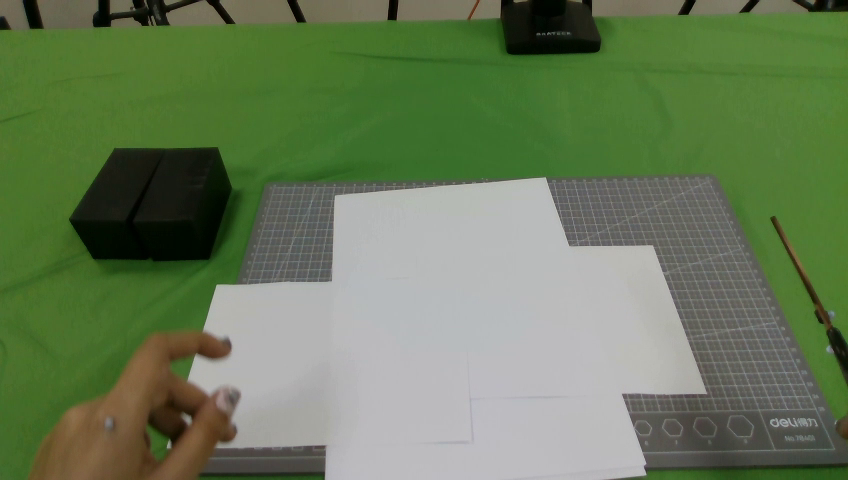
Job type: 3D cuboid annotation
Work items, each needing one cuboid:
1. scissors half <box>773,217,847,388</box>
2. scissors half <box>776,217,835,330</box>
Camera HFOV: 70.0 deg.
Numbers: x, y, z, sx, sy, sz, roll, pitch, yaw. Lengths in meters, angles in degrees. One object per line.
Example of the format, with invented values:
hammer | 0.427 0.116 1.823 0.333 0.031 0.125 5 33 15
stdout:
scissors half | 0.239 0.054 0.354 0.013 0.040 0.173 -25 46 26
scissors half | 0.252 0.061 0.369 0.013 0.040 0.173 -28 61 31
